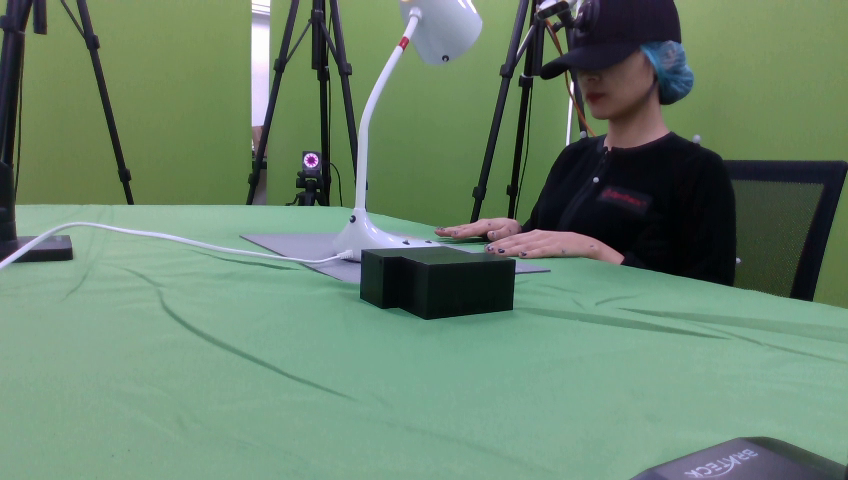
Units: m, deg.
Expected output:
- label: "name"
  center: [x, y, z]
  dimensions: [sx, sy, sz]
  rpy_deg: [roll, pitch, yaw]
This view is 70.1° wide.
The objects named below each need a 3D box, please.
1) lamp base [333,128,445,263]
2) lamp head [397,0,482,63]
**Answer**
- label: "lamp base"
  center: [-0.054, -0.064, 0.842]
  dimensions: [0.160, 0.180, 0.180]
  rpy_deg: [6, 11, 29]
- label: "lamp head"
  center: [0.011, -0.341, 0.899]
  dimensions: [0.112, 0.112, 0.123]
  rpy_deg: [7, -21, 37]
